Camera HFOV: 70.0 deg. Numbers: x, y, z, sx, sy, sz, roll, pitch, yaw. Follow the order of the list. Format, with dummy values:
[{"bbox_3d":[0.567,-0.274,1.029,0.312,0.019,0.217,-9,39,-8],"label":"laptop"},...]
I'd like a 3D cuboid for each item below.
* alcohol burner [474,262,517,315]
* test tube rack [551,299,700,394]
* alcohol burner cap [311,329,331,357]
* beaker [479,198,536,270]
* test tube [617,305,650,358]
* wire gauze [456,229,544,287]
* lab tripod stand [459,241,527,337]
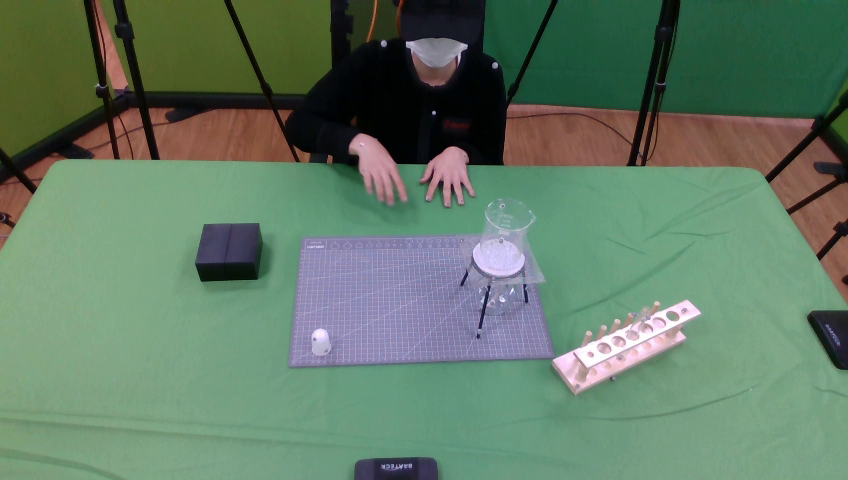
[{"bbox_3d":[0.128,0.078,1.066,0.078,0.119,0.077,2,48,-2],"label":"alcohol burner"},{"bbox_3d":[0.339,0.166,1.021,0.242,0.085,0.066,-19,50,-21],"label":"test tube rack"},{"bbox_3d":[-0.173,0.168,1.005,0.034,0.048,0.033,2,46,-2],"label":"alcohol burner cap"},{"bbox_3d":[0.131,-0.007,0.975,0.084,0.101,0.073,2,46,-4],"label":"beaker"},{"bbox_3d":[0.333,0.149,0.967,0.017,0.151,0.017,0,52,1],"label":"test tube"},{"bbox_3d":[0.125,0.030,1.008,0.125,0.011,0.120,-3,48,-11],"label":"wire gauze"},{"bbox_3d":[0.122,0.075,1.054,0.148,0.132,0.147,3,44,-3],"label":"lab tripod stand"}]
